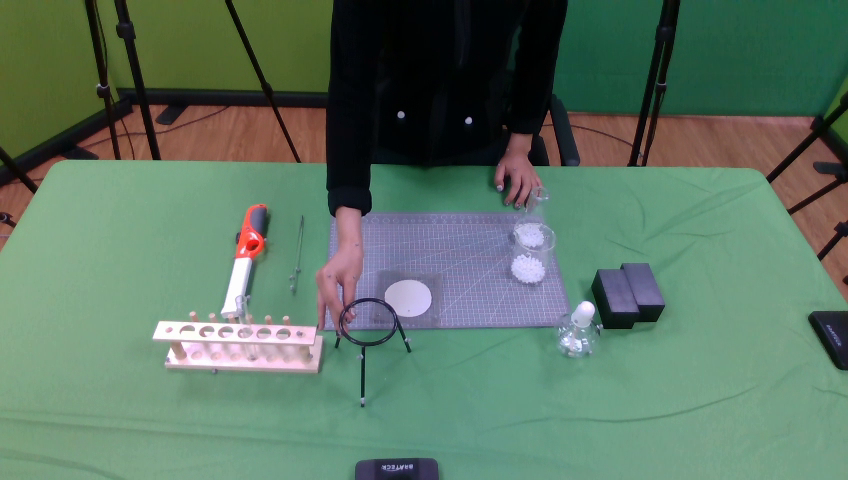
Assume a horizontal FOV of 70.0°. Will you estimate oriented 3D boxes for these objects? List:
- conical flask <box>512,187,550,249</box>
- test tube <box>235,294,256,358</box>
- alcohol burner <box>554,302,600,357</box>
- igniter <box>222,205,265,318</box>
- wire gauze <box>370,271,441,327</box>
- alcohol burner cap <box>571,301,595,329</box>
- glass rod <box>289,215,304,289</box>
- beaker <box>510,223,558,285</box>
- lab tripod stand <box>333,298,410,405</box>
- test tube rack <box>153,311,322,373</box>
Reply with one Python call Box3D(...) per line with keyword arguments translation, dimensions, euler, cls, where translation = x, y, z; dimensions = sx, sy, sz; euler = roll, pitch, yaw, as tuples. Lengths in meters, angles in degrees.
Box3D(translation=(0.217, -0.047, 1.190), dimensions=(0.075, 0.122, 0.075), euler=(2, 46, -2), cls="conical flask")
Box3D(translation=(-0.274, 0.136, 0.933), dimensions=(0.017, 0.151, 0.017), euler=(4, 45, -4), cls="test tube")
Box3D(translation=(0.260, 0.144, 1.018), dimensions=(0.078, 0.119, 0.077), euler=(3, 44, -3), cls="alcohol burner")
Box3D(translation=(-0.337, 0.031, 1.140), dimensions=(0.057, 0.025, 0.274), euler=(-6, 46, 3), cls="igniter")
Box3D(translation=(-0.032, 0.103, 1.104), dimensions=(0.125, 0.011, 0.121), euler=(4, 46, 3), cls="wire gauze")
Box3D(translation=(0.262, 0.120, 0.991), dimensions=(0.034, 0.048, 0.033), euler=(2, 52, -2), cls="alcohol burner cap")
Box3D(translation=(-0.246, 0.019, 1.171), dimensions=(0.008, 0.008, 0.198), euler=(1, 44, -3), cls="glass rod")
Box3D(translation=(0.199, 0.028, 1.131), dimensions=(0.083, 0.101, 0.074), euler=(26, 50, 21), cls="beaker")
Box3D(translation=(-0.086, 0.163, 0.958), dimensions=(0.148, 0.132, 0.147), euler=(3, 44, -3), cls="lab tripod stand")
Box3D(translation=(-0.293, 0.160, 0.977), dimensions=(0.242, 0.085, 0.066), euler=(3, 46, -2), cls="test tube rack")
